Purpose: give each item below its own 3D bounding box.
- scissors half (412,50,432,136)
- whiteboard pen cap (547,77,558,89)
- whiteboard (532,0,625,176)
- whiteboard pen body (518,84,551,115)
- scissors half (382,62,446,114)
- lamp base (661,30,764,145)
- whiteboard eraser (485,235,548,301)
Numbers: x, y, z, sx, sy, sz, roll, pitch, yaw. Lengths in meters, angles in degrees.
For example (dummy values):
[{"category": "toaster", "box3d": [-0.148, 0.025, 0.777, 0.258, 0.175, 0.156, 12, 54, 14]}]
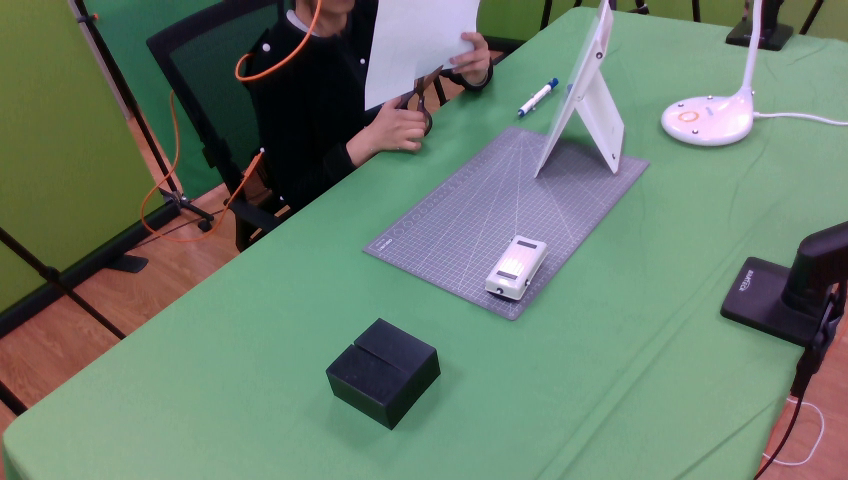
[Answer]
[{"category": "scissors half", "box3d": [0.000, -0.282, 1.174, 0.040, 0.175, 0.013, 15, 37, 15]}, {"category": "whiteboard pen cap", "box3d": [0.279, -0.341, 1.321, 0.018, 0.018, 0.033, 22, 51, 31]}, {"category": "whiteboard", "box3d": [0.320, -0.259, 1.050, 0.144, 0.306, 0.217, 21, 45, 5]}, {"category": "whiteboard pen body", "box3d": [0.242, -0.306, 1.289, 0.017, 0.017, 0.141, 24, 52, 33]}, {"category": "scissors half", "box3d": [-0.021, -0.298, 1.175, 0.174, 0.040, 0.013, -24, 16, 37]}, {"category": "lamp base", "box3d": [0.535, -0.287, 1.096, 0.179, 0.181, 0.159, -10, 40, -4]}, {"category": "whiteboard eraser", "box3d": [0.137, 0.042, 0.887, 0.055, 0.042, 0.113, 15, 46, 27]}]
